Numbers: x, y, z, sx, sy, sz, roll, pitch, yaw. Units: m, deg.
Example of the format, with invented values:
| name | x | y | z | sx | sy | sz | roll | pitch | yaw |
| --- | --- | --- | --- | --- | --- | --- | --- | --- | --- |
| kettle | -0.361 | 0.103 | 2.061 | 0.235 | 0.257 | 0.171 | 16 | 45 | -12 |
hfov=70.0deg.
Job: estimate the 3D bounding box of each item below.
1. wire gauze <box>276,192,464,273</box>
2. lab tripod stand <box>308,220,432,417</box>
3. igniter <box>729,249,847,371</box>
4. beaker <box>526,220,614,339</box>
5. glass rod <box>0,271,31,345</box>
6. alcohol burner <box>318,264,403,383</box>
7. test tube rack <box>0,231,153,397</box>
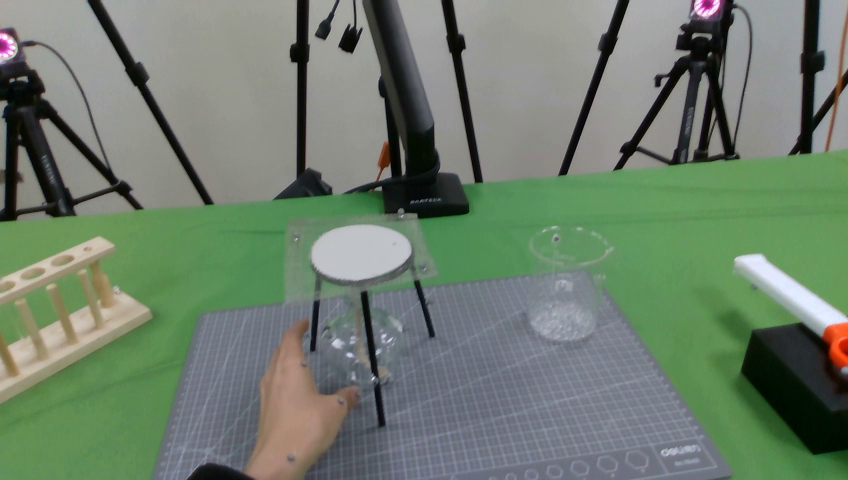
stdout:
| name | x | y | z | sx | sy | sz | roll | pitch | yaw |
| --- | --- | --- | --- | --- | --- | --- | --- | --- | --- |
| wire gauze | -0.048 | -0.008 | 0.501 | 0.125 | 0.011 | 0.120 | -11 | 28 | -28 |
| lab tripod stand | -0.050 | 0.062 | 0.548 | 0.148 | 0.132 | 0.147 | 0 | 33 | 0 |
| igniter | 0.353 | 0.079 | 0.510 | 0.057 | 0.025 | 0.274 | -7 | 28 | -7 |
| beaker | 0.141 | 0.041 | 0.603 | 0.084 | 0.101 | 0.073 | -2 | 32 | 1 |
| glass rod | -0.398 | 0.022 | 0.558 | 0.008 | 0.201 | 0.008 | 2 | 34 | -1 |
| alcohol burner | -0.059 | 0.072 | 0.552 | 0.078 | 0.120 | 0.077 | 0 | 31 | 0 |
| test tube rack | -0.400 | 0.086 | 0.582 | 0.066 | 0.086 | 0.242 | 21 | 38 | 33 |
